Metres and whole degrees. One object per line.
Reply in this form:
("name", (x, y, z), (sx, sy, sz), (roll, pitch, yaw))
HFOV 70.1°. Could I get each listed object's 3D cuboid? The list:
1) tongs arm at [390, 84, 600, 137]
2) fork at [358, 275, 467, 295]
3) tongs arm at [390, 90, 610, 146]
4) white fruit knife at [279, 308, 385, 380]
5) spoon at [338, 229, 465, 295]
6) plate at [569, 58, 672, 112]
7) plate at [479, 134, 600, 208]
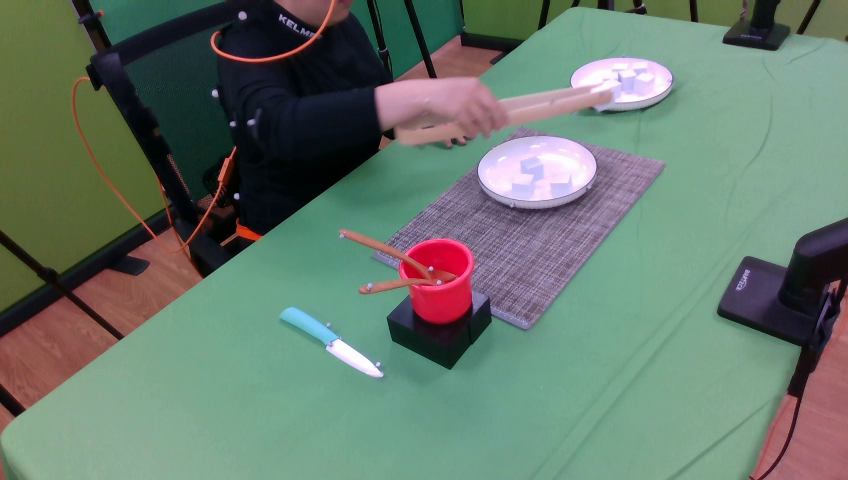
("tongs arm", (0.127, -0.224, 1.036), (0.389, 0.028, 0.028), (-13, 42, -11))
("fork", (-0.009, 0.055, 0.739), (0.028, 0.018, 0.209), (49, 23, 26))
("tongs arm", (0.133, -0.210, 1.017), (0.386, 0.026, 0.050), (-15, 39, -14))
("white fruit knife", (-0.130, 0.143, 0.845), (0.205, 0.016, 0.027), (25, 79, 32))
("spoon", (-0.025, 0.026, 0.776), (0.021, 0.195, 0.041), (-41, 34, 31))
("plate", (0.411, -0.323, 1.274), (0.209, 0.038, 0.208), (-5, 41, 5))
("plate", (0.202, -0.117, 1.065), (0.207, 0.039, 0.206), (-5, 40, 5))
